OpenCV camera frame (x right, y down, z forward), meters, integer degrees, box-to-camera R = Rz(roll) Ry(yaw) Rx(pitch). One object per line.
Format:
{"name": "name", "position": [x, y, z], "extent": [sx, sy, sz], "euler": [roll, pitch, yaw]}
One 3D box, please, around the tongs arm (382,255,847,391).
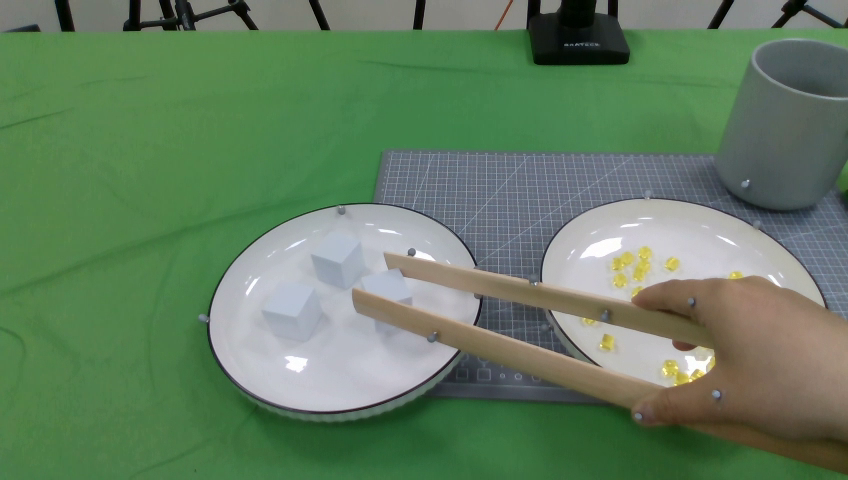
{"name": "tongs arm", "position": [0.136, 0.066, 0.374], "extent": [0.383, 0.027, 0.050], "euler": [11, 42, 22]}

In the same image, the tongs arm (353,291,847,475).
{"name": "tongs arm", "position": [0.123, 0.083, 0.356], "extent": [0.385, 0.028, 0.028], "euler": [13, 39, 24]}

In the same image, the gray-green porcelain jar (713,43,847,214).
{"name": "gray-green porcelain jar", "position": [0.329, -0.095, 0.548], "extent": [0.106, 0.127, 0.105], "euler": [-1, 44, 2]}

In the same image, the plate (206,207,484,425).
{"name": "plate", "position": [-0.058, 0.055, 0.473], "extent": [0.209, 0.038, 0.207], "euler": [-2, 44, 2]}

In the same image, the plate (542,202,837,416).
{"name": "plate", "position": [0.195, 0.051, 0.467], "extent": [0.208, 0.039, 0.205], "euler": [-1, 44, 1]}
